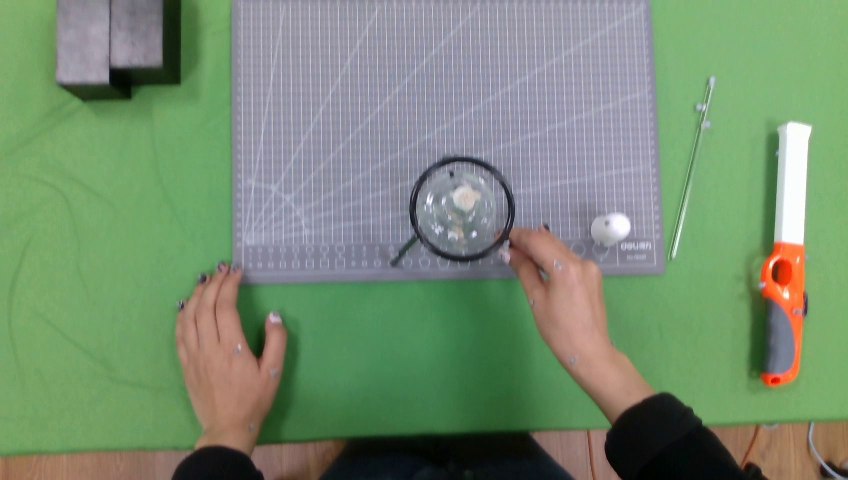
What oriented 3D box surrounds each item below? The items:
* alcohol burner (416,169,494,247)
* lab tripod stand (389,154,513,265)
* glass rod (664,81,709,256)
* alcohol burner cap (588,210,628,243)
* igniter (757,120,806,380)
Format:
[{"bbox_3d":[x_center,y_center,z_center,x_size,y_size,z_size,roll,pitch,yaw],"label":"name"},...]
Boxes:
[{"bbox_3d":[0.032,-0.034,0.581,0.078,0.119,0.077,0,83,-4],"label":"alcohol burner"},{"bbox_3d":[0.026,-0.025,0.569,0.148,0.131,0.148,0,84,-2],"label":"lab tripod stand"},{"bbox_3d":[0.284,-0.079,0.655,0.008,0.008,0.199,15,85,-2],"label":"glass rod"},{"bbox_3d":[0.192,-0.015,0.624,0.034,0.048,0.034,0,85,-2],"label":"alcohol burner cap"},{"bbox_3d":[0.382,0.010,0.644,0.057,0.025,0.276,7,85,-14],"label":"igniter"}]
